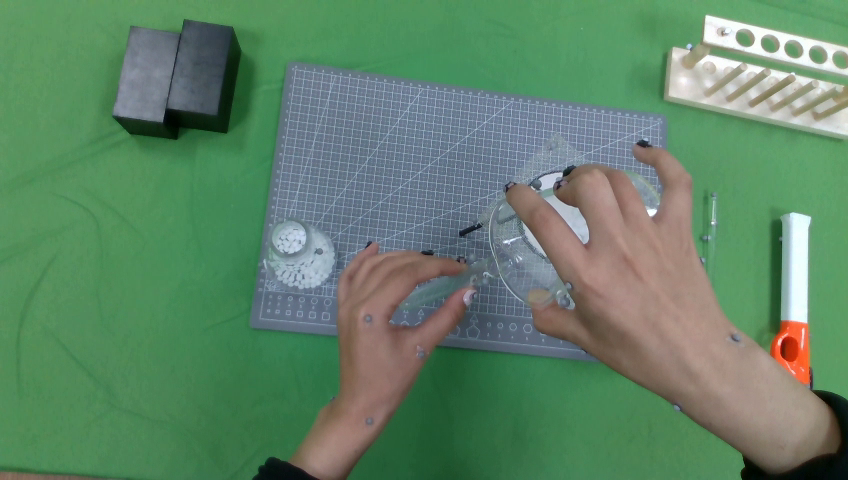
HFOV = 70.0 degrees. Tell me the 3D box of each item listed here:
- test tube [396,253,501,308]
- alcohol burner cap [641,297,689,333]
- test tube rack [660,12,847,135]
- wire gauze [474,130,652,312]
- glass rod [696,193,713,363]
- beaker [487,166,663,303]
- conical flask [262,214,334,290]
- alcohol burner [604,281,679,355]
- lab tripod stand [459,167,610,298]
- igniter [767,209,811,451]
[{"bbox_3d":[0.014,0.036,0.489,0.017,0.150,0.017,9,71,-27],"label":"test tube"},{"bbox_3d":[0.239,0.071,0.593,0.034,0.048,0.033,3,74,-10],"label":"alcohol burner cap"},{"bbox_3d":[0.415,-0.192,0.714,0.243,0.085,0.066,10,79,-5],"label":"test tube rack"},{"bbox_3d":[0.127,-0.021,0.553,0.125,0.011,0.121,43,79,2],"label":"wire gauze"},{"bbox_3d":[0.326,0.042,0.703,0.008,0.008,0.199,8,82,-6],"label":"glass rod"},{"bbox_3d":[0.103,-0.007,0.412,0.100,0.084,0.073,-17,81,-25],"label":"beaker"},{"bbox_3d":[-0.127,0.006,0.590,0.075,0.122,0.075,1,80,-7],"label":"conical flask"},{"bbox_3d":[0.234,0.079,0.628,0.078,0.119,0.077,1,79,-4],"label":"alcohol burner"},{"bbox_3d":[0.117,-0.012,0.618,0.148,0.131,0.148,1,81,-5],"label":"lab tripod stand"},{"bbox_3d":[0.419,0.100,0.695,0.057,0.025,0.275,11,79,-16],"label":"igniter"}]
